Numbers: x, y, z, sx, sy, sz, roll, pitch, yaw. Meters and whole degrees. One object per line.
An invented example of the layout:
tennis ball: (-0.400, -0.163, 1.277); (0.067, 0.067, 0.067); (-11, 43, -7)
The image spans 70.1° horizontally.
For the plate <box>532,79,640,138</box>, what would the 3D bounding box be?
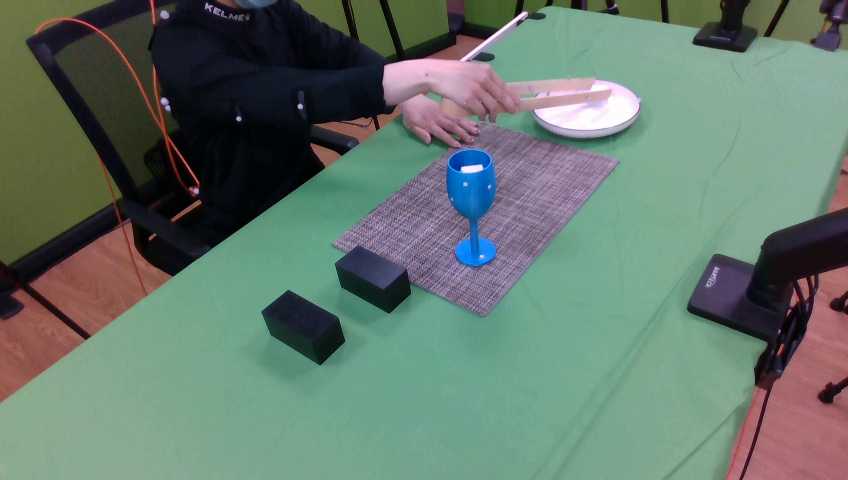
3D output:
plate: (0.322, -0.259, 1.212); (0.209, 0.038, 0.208); (-4, 40, 4)

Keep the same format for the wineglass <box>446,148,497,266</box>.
wineglass: (0.072, -0.046, 0.889); (0.074, 0.173, 0.073); (-4, 41, 4)

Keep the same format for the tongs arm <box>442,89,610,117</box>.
tongs arm: (0.206, -0.260, 1.132); (0.390, 0.028, 0.028); (-12, 49, -29)

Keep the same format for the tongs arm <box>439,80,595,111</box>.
tongs arm: (0.191, -0.277, 1.150); (0.387, 0.026, 0.050); (-10, 44, -27)
